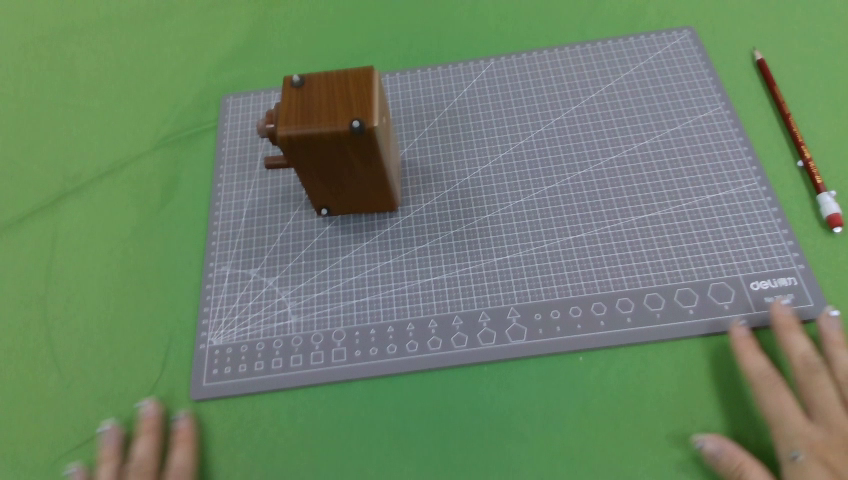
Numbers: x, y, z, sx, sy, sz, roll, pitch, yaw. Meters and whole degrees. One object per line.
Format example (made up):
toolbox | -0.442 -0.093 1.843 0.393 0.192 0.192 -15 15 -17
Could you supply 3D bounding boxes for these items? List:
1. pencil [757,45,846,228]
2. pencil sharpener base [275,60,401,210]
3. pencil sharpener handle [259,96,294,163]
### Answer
pencil | 0.301 -0.093 0.492 0.012 0.012 0.192 -5 58 5
pencil sharpener base | -0.062 -0.076 0.465 0.076 0.108 0.061 -5 60 5
pencil sharpener handle | -0.115 -0.079 0.458 0.030 0.068 0.035 -5 64 5
